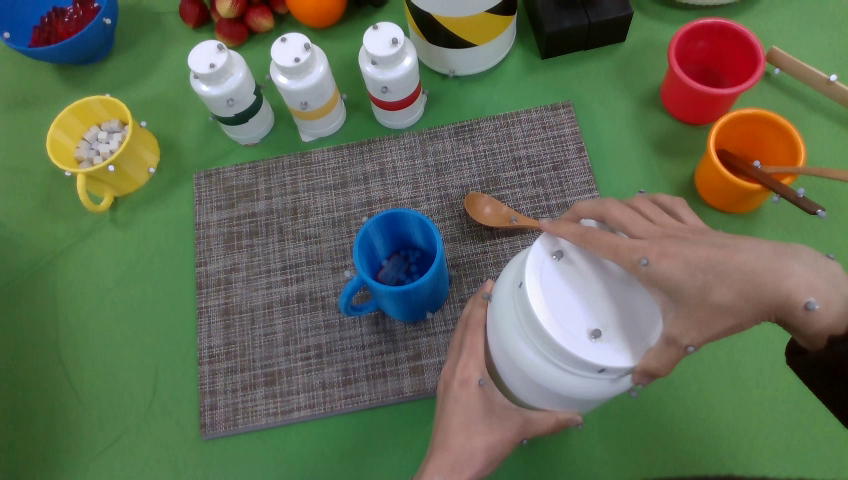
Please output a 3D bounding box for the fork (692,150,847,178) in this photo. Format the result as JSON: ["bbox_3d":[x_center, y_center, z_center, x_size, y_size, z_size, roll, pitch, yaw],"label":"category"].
[{"bbox_3d":[0.349,-0.068,0.575,0.028,0.019,0.205,-49,29,-12],"label":"fork"}]

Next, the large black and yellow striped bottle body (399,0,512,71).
[{"bbox_3d":[0.033,-0.293,0.670,0.131,0.185,0.130,-2,69,5],"label":"large black and yellow striped bottle body"}]

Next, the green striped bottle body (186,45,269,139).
[{"bbox_3d":[-0.222,-0.170,0.679,0.063,0.120,0.062,-2,69,4],"label":"green striped bottle body"}]

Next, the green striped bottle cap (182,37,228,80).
[{"bbox_3d":[-0.228,-0.189,0.631,0.044,0.020,0.044,-1,68,3],"label":"green striped bottle cap"}]

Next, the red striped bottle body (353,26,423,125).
[{"bbox_3d":[-0.040,-0.185,0.669,0.063,0.120,0.062,-3,68,7],"label":"red striped bottle body"}]

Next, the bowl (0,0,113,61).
[{"bbox_3d":[-0.456,-0.282,0.765,0.151,0.077,0.150,-1,69,4],"label":"bowl"}]

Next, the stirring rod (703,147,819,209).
[{"bbox_3d":[0.318,-0.064,0.584,0.014,0.006,0.174,-9,25,-1],"label":"stirring rod"}]

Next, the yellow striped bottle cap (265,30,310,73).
[{"bbox_3d":[-0.141,-0.195,0.625,0.044,0.019,0.044,0,64,0],"label":"yellow striped bottle cap"}]

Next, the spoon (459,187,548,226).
[{"bbox_3d":[0.128,-0.015,0.638,0.193,0.022,0.041,19,51,11],"label":"spoon"}]

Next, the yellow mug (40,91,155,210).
[{"bbox_3d":[-0.374,-0.097,0.694,0.100,0.064,0.130,-2,70,4],"label":"yellow mug"}]

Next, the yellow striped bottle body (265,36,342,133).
[{"bbox_3d":[-0.135,-0.177,0.674,0.063,0.121,0.062,-2,68,5],"label":"yellow striped bottle body"}]

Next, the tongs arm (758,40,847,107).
[{"bbox_3d":[0.539,-0.117,0.638,0.382,0.027,0.050,40,74,17],"label":"tongs arm"}]

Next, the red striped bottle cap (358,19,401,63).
[{"bbox_3d":[-0.046,-0.205,0.621,0.044,0.018,0.044,0,67,1],"label":"red striped bottle cap"}]

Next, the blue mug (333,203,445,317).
[{"bbox_3d":[-0.037,0.032,0.590,0.116,0.106,0.081,-35,69,-8],"label":"blue mug"}]

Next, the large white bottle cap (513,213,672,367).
[{"bbox_3d":[0.120,0.033,0.430,0.115,0.018,0.114,6,61,-10],"label":"large white bottle cap"}]

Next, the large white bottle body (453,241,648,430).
[{"bbox_3d":[0.105,0.075,0.505,0.131,0.185,0.129,5,60,-9],"label":"large white bottle body"}]
